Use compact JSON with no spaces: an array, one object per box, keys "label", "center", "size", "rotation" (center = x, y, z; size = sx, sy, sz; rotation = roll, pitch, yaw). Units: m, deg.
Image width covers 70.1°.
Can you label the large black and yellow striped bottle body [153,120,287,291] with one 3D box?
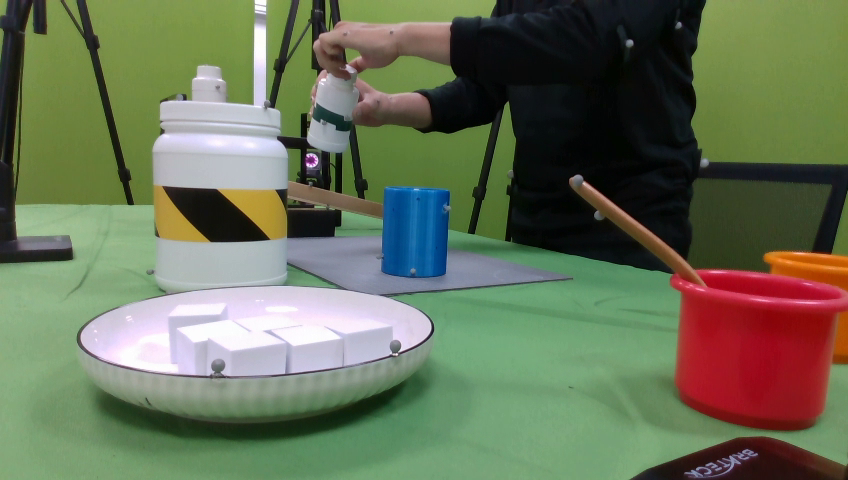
[{"label":"large black and yellow striped bottle body","center":[-0.208,-0.042,0.626],"size":[0.131,0.184,0.130],"rotation":[2,7,0]}]

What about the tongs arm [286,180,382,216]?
[{"label":"tongs arm","center":[-0.122,-0.066,1.147],"size":[0.387,0.026,0.050],"rotation":[11,-2,-37]}]

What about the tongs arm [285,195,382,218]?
[{"label":"tongs arm","center":[-0.165,-0.074,1.216],"size":[0.389,0.027,0.028],"rotation":[11,-6,-24]}]

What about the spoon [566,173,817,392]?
[{"label":"spoon","center":[0.161,0.024,0.370],"size":[0.193,0.021,0.042],"rotation":[47,18,3]}]

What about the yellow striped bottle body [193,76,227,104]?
[{"label":"yellow striped bottle body","center":[-0.414,-0.268,1.169],"size":[0.063,0.120,0.063],"rotation":[2,7,0]}]

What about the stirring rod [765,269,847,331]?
[{"label":"stirring rod","center":[0.352,0.020,0.484],"size":[0.176,0.006,0.014],"rotation":[-40,-7,13]}]

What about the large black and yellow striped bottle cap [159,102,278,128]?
[{"label":"large black and yellow striped bottle cap","center":[-0.207,-0.125,0.615],"size":[0.115,0.019,0.115],"rotation":[2,6,0]}]

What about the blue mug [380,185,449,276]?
[{"label":"blue mug","center":[-0.018,-0.016,0.764],"size":[0.083,0.106,0.116],"rotation":[-2,8,-25]}]

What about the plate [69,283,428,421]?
[{"label":"plate","center":[-0.102,0.066,0.381],"size":[0.208,0.039,0.207],"rotation":[2,7,0]}]

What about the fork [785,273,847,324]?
[{"label":"fork","center":[0.332,0.018,0.444],"size":[0.028,0.018,0.207],"rotation":[-2,-35,-15]}]

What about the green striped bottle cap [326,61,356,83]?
[{"label":"green striped bottle cap","center":[-0.123,-0.251,0.904],"size":[0.044,0.020,0.044],"rotation":[13,28,-7]}]

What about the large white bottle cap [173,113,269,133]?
[{"label":"large white bottle cap","center":[-0.254,-0.146,0.760],"size":[0.115,0.018,0.115],"rotation":[1,7,0]}]

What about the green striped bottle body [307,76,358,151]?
[{"label":"green striped bottle body","center":[-0.139,-0.202,0.927],"size":[0.063,0.119,0.063],"rotation":[13,24,-6]}]

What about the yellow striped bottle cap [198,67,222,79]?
[{"label":"yellow striped bottle cap","center":[-0.411,-0.320,1.163],"size":[0.044,0.018,0.044],"rotation":[0,5,0]}]

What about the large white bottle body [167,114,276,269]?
[{"label":"large white bottle body","center":[-0.256,-0.063,0.772],"size":[0.131,0.184,0.130],"rotation":[2,7,0]}]
